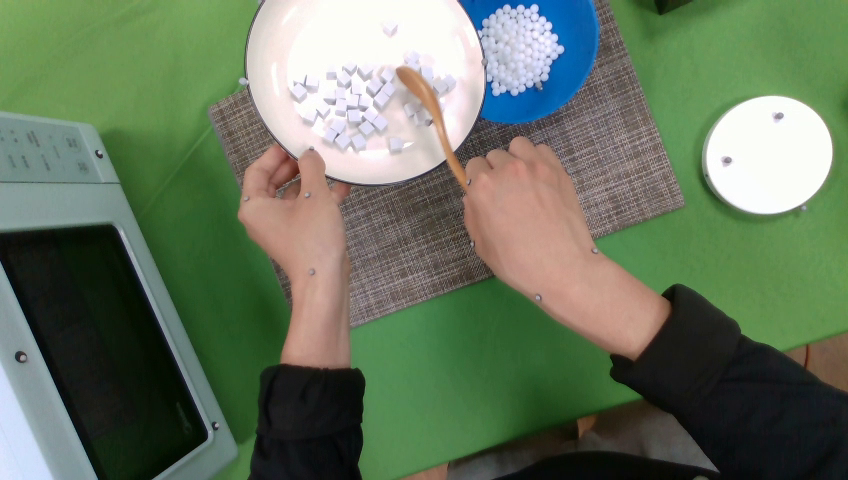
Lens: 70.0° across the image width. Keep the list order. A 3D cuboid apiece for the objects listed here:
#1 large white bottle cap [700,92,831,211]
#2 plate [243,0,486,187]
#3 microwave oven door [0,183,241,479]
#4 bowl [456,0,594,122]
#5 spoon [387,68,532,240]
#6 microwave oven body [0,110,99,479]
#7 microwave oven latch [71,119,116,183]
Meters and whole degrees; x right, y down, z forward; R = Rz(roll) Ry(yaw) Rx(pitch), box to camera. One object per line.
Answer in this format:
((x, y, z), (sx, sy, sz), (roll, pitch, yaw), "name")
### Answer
((0.332, -0.085, 0.591), (0.114, 0.018, 0.115), (1, 96, 10), "large white bottle cap")
((-0.050, -0.147, 0.538), (0.210, 0.038, 0.208), (1, 84, -11), "plate")
((-0.329, 0.110, 0.615), (0.039, 0.244, 0.355), (-24, 90, 13), "microwave oven door")
((0.089, -0.188, 0.595), (0.151, 0.077, 0.151), (1, 96, 12), "bowl")
((0.027, -0.072, 0.504), (0.042, 0.022, 0.192), (-50, 63, 33), "spoon")
((-0.475, 0.128, 0.652), (0.326, 0.260, 0.441), (-24, 91, 12), "microwave oven body")
((-0.394, -0.100, 0.710), (0.030, 0.029, 0.079), (-23, 92, 12), "microwave oven latch")
